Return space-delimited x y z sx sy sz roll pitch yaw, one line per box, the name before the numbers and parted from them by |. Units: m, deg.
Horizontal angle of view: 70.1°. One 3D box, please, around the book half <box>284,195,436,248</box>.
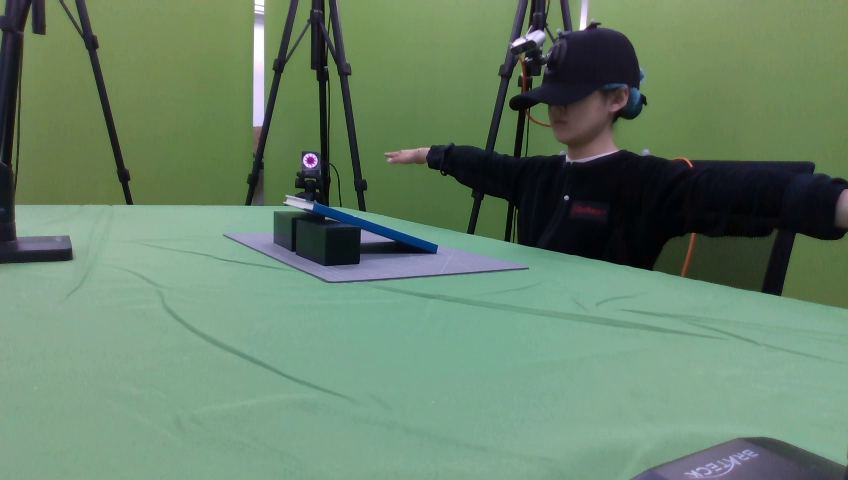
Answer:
book half | -0.100 -0.028 0.934 0.211 0.007 0.142 19 -1 -29
